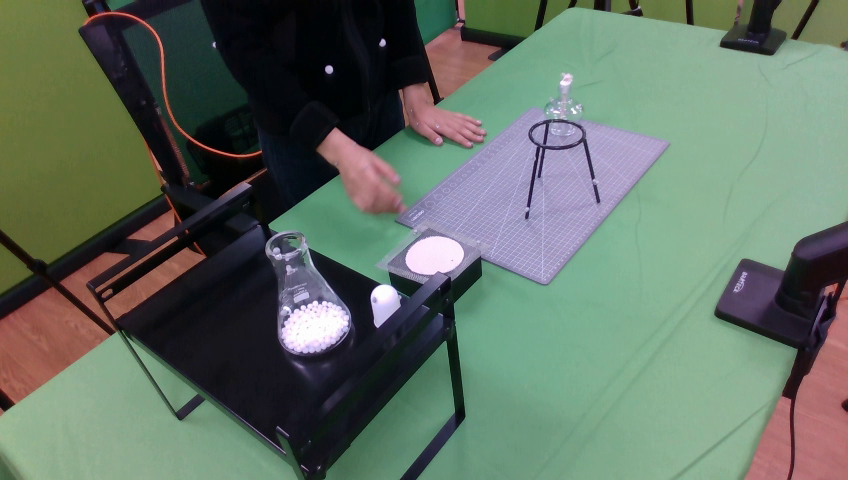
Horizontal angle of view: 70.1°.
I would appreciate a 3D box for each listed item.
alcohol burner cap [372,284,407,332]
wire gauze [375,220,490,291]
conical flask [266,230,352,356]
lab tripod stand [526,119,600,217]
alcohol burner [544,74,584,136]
[{"bbox_3d":[-0.036,0.066,0.608,0.034,0.048,0.033,-5,38,5],"label":"alcohol burner cap"},{"bbox_3d":[0.012,0.022,0.882,0.120,0.011,0.125,22,47,33],"label":"wire gauze"},{"bbox_3d":[-0.116,0.047,0.580,0.075,0.122,0.075,-5,40,4],"label":"conical flask"},{"bbox_3d":[0.220,-0.122,0.995,0.148,0.132,0.147,-3,39,3],"label":"lab tripod stand"},{"bbox_3d":[0.270,-0.263,1.169,0.078,0.119,0.077,-6,39,5],"label":"alcohol burner"}]
